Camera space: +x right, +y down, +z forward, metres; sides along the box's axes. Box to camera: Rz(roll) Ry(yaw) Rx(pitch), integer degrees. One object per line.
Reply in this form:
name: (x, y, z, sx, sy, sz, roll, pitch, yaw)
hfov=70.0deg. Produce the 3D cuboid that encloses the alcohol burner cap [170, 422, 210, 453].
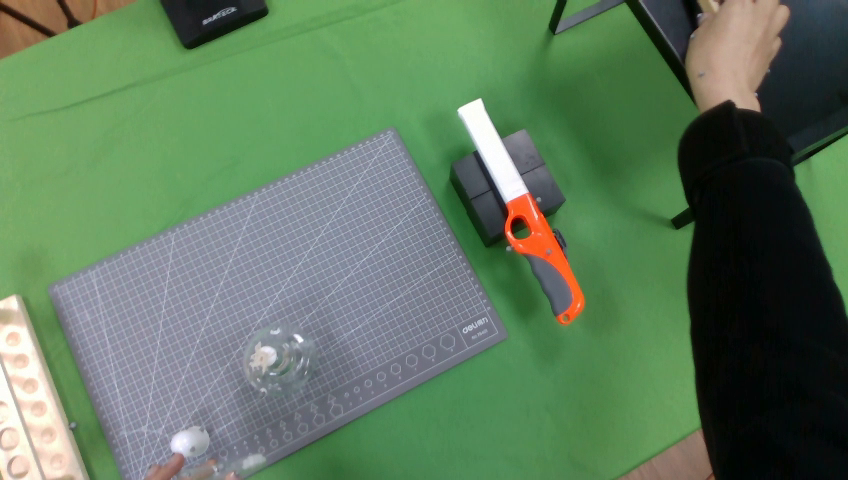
alcohol burner cap: (-0.253, 0.212, 0.650, 0.034, 0.048, 0.033, 0, 76, -2)

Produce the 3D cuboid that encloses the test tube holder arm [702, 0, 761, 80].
test tube holder arm: (0.281, -0.231, 0.587, 0.013, 0.015, 0.177, -13, 72, -11)

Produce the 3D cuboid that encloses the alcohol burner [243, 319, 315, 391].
alcohol burner: (-0.156, 0.120, 0.638, 0.078, 0.119, 0.077, 0, 78, -1)

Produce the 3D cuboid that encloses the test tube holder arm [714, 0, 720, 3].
test tube holder arm: (0.274, -0.274, 0.602, 0.010, 0.015, 0.087, -13, 72, -11)

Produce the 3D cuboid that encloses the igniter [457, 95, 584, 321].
igniter: (0.108, -0.040, 0.683, 0.057, 0.025, 0.275, -24, 78, -1)

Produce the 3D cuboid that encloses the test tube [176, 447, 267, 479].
test tube: (-0.169, 0.194, 0.524, 0.017, 0.151, 0.017, -2, 77, 7)

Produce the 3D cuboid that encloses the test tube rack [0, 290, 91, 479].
test tube rack: (-0.440, 0.168, 0.634, 0.067, 0.085, 0.241, -26, 79, -7)
